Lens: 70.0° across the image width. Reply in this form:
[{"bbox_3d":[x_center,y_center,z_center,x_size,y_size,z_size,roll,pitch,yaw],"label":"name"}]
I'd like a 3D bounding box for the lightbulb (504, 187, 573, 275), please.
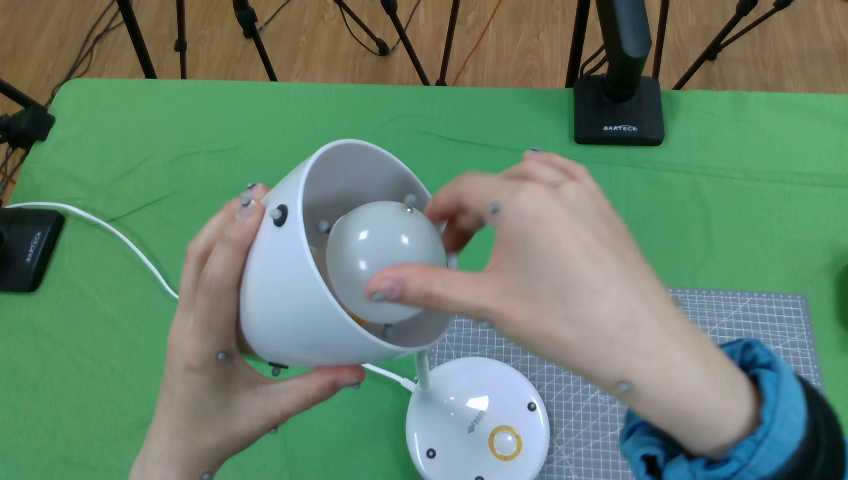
[{"bbox_3d":[0.117,-0.012,0.646,0.059,0.060,0.106,-24,65,-5],"label":"lightbulb"}]

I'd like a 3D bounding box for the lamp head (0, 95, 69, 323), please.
[{"bbox_3d":[-0.217,-0.001,0.243,0.113,0.122,0.111,16,65,-38],"label":"lamp head"}]

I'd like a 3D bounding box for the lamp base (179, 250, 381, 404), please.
[{"bbox_3d":[-0.138,0.072,0.560,0.179,0.181,0.160,8,79,4],"label":"lamp base"}]
